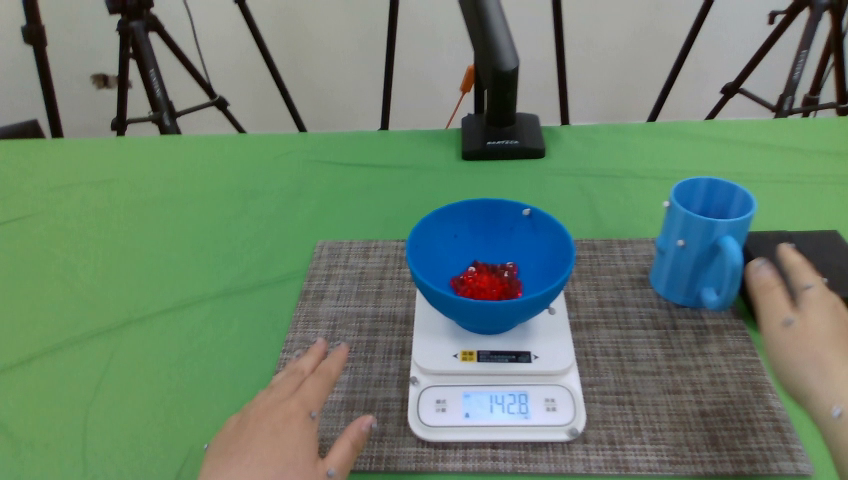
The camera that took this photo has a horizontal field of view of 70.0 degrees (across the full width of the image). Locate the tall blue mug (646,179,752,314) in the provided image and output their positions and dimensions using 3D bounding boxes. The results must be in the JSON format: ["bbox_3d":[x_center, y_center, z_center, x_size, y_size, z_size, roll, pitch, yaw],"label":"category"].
[{"bbox_3d":[0.278,0.013,0.595,0.078,0.109,0.106,-21,41,-22],"label":"tall blue mug"}]

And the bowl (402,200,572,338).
[{"bbox_3d":[0.056,0.037,0.557,0.151,0.077,0.150,-1,38,1],"label":"bowl"}]

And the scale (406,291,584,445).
[{"bbox_3d":[0.061,0.097,0.566,0.148,0.032,0.199,-1,38,3],"label":"scale"}]
